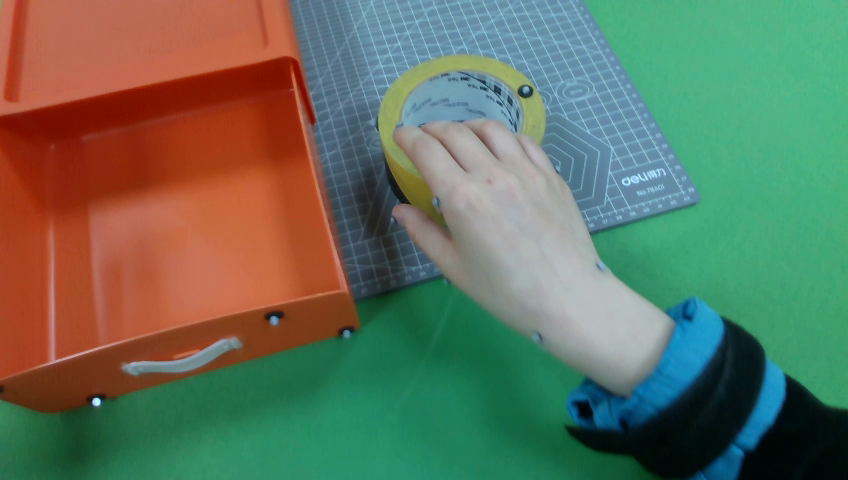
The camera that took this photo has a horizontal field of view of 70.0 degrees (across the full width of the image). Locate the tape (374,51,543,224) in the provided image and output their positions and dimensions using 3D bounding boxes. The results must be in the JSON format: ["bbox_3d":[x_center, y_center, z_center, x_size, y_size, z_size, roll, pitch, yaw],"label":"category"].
[{"bbox_3d":[0.025,-0.070,0.417,0.117,0.053,0.116,-1,63,2],"label":"tape"}]

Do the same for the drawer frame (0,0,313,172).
[{"bbox_3d":[-0.203,-0.167,0.457,0.202,0.083,0.211,-14,62,-5],"label":"drawer frame"}]

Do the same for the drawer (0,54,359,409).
[{"bbox_3d":[-0.161,-0.021,0.386,0.195,0.074,0.210,-15,64,-5],"label":"drawer"}]
